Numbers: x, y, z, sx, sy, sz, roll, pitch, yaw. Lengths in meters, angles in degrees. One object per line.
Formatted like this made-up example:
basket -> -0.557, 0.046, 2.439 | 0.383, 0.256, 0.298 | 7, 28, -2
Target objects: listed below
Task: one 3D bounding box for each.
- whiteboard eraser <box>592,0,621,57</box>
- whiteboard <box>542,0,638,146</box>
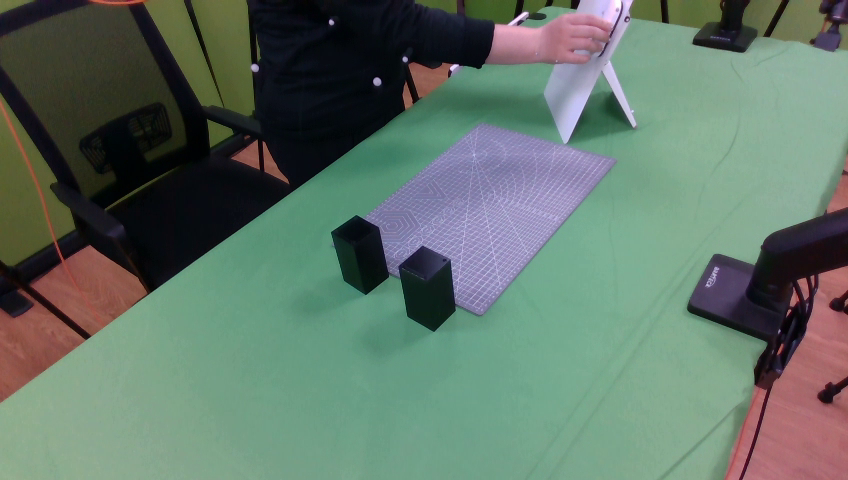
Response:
whiteboard eraser -> 0.314, -0.365, 1.047 | 0.019, 0.101, 0.041 | -1, 45, -9
whiteboard -> 0.365, -0.351, 1.160 | 0.144, 0.306, 0.216 | 8, 39, -10
